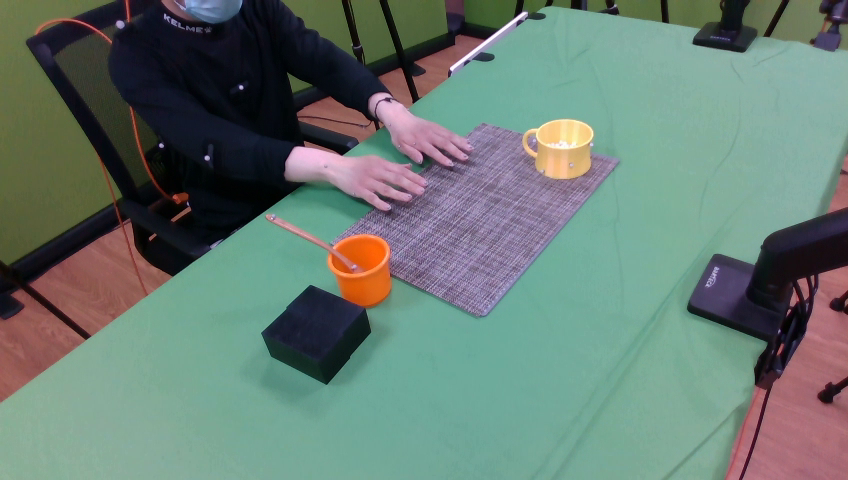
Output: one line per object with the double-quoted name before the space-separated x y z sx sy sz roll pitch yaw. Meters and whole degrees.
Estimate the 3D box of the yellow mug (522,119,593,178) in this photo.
"yellow mug" 0.237 -0.170 1.092 0.130 0.064 0.100 17 47 27

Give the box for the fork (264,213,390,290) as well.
"fork" -0.137 0.018 0.869 0.208 0.018 0.028 35 37 -19
